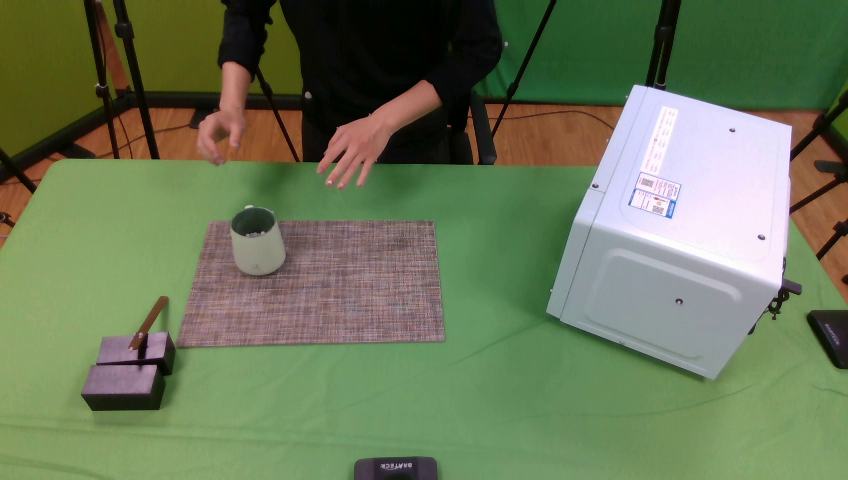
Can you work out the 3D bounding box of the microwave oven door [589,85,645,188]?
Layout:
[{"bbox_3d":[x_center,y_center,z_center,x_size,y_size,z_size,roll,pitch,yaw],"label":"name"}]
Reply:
[{"bbox_3d":[0.342,-0.107,1.149,0.039,0.245,0.354,20,48,15],"label":"microwave oven door"}]

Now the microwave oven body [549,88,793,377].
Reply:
[{"bbox_3d":[0.456,-0.028,1.088,0.325,0.261,0.440,20,47,16],"label":"microwave oven body"}]

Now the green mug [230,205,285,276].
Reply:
[{"bbox_3d":[-0.311,-0.008,1.118,0.092,0.105,0.124,-14,49,-16],"label":"green mug"}]

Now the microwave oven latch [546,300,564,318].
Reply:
[{"bbox_3d":[0.242,0.102,1.081,0.030,0.029,0.079,21,48,17],"label":"microwave oven latch"}]

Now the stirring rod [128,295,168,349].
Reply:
[{"bbox_3d":[-0.451,0.131,0.996,0.014,0.006,0.175,9,21,-10],"label":"stirring rod"}]
